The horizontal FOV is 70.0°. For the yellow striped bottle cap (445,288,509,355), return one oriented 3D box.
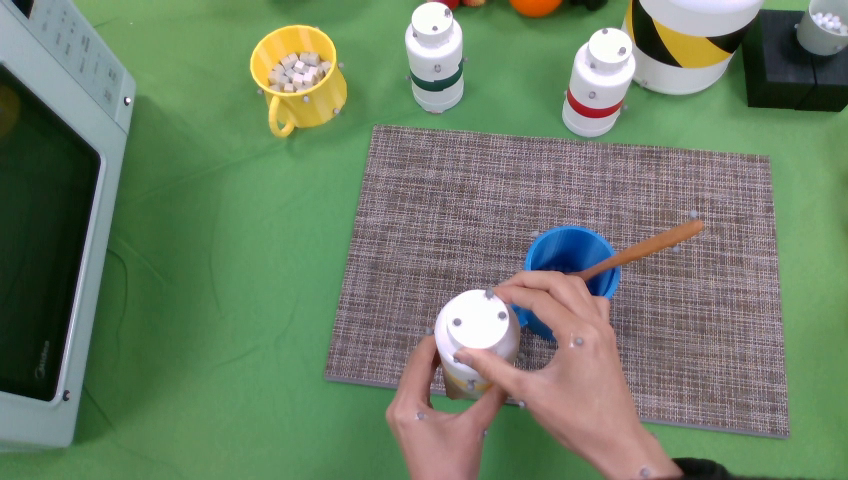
[{"bbox_3d":[0.037,0.056,0.419,0.044,0.019,0.044,-2,61,4],"label":"yellow striped bottle cap"}]

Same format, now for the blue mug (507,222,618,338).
[{"bbox_3d":[0.118,0.049,0.577,0.116,0.106,0.081,-29,68,-8],"label":"blue mug"}]

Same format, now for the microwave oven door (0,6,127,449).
[{"bbox_3d":[-0.371,-0.007,0.544,0.039,0.245,0.353,-3,68,4],"label":"microwave oven door"}]

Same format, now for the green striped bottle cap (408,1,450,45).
[{"bbox_3d":[0.005,-0.228,0.636,0.044,0.020,0.044,-1,67,3],"label":"green striped bottle cap"}]

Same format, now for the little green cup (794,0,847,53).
[{"bbox_3d":[0.436,-0.235,0.654,0.061,0.039,0.061,0,66,1],"label":"little green cup"}]

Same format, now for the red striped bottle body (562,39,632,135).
[{"bbox_3d":[0.187,-0.171,0.657,0.063,0.120,0.062,-2,66,6],"label":"red striped bottle body"}]

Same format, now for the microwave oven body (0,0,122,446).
[{"bbox_3d":[-0.518,-0.036,0.572,0.326,0.262,0.438,-3,69,2],"label":"microwave oven body"}]

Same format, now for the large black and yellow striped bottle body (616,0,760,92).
[{"bbox_3d":[0.287,-0.264,0.652,0.131,0.185,0.130,-1,68,4],"label":"large black and yellow striped bottle body"}]

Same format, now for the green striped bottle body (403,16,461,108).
[{"bbox_3d":[0.010,-0.208,0.684,0.063,0.120,0.062,-1,68,3],"label":"green striped bottle body"}]

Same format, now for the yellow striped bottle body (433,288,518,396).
[{"bbox_3d":[0.040,0.078,0.468,0.063,0.121,0.062,-2,64,4],"label":"yellow striped bottle body"}]

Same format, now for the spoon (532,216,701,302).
[{"bbox_3d":[0.158,0.023,0.538,0.022,0.194,0.041,7,64,-32],"label":"spoon"}]

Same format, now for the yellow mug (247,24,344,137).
[{"bbox_3d":[-0.155,-0.181,0.713,0.099,0.064,0.130,15,71,10],"label":"yellow mug"}]

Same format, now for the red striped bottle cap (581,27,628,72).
[{"bbox_3d":[0.182,-0.192,0.608,0.044,0.018,0.044,0,67,0],"label":"red striped bottle cap"}]

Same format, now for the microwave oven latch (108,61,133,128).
[{"bbox_3d":[-0.368,-0.171,0.720,0.030,0.030,0.078,-2,69,3],"label":"microwave oven latch"}]
